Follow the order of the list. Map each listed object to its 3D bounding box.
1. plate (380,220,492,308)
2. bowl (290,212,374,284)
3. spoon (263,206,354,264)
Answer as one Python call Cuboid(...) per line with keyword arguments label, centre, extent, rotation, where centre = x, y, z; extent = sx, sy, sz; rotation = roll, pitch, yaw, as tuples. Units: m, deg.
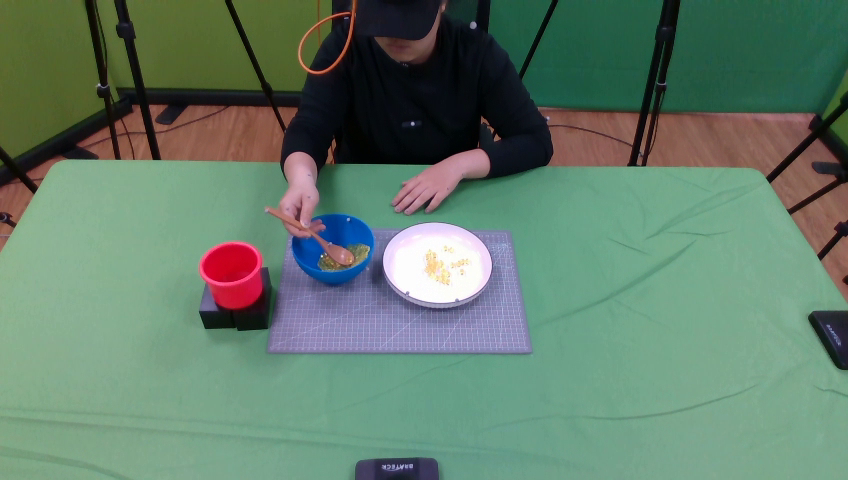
Cuboid(label="plate", centre=(0.022, 0.048, 1.138), extent=(0.208, 0.039, 0.206), rotation=(2, 46, -2))
Cuboid(label="bowl", centre=(-0.166, 0.028, 1.115), extent=(0.151, 0.077, 0.150), rotation=(2, 46, -2))
Cuboid(label="spoon", centre=(-0.199, -0.011, 1.064), extent=(0.021, 0.195, 0.041), rotation=(-31, 39, 27))
